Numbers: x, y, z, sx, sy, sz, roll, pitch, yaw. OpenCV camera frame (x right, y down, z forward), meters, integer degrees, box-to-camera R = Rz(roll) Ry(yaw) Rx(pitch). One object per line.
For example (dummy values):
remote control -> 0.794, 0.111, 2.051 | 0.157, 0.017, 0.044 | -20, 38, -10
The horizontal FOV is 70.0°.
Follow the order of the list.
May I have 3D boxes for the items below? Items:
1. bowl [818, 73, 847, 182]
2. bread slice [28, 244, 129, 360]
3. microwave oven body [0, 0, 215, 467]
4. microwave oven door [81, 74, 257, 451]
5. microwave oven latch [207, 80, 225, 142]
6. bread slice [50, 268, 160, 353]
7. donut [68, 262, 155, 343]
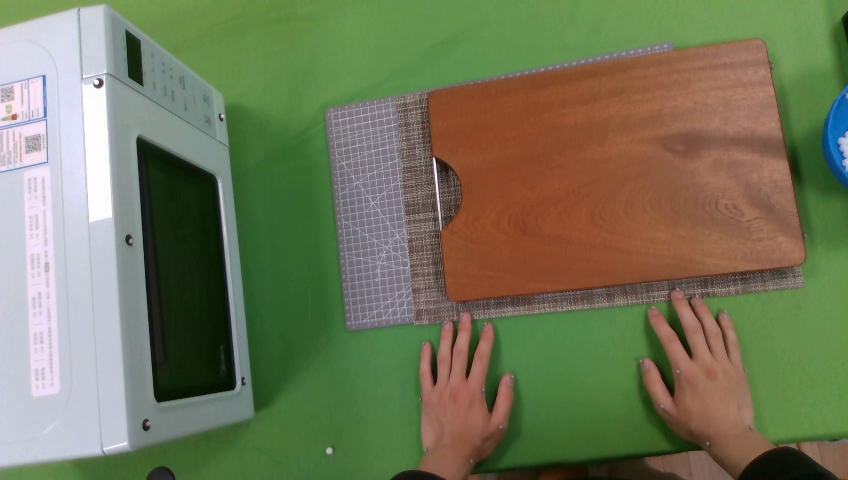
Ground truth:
bowl -> 0.495, -0.113, 0.651 | 0.151, 0.077, 0.151 | -1, 83, 11
bread slice -> -0.389, 0.078, 0.676 | 0.134, 0.018, 0.106 | -24, 81, 21
microwave oven body -> -0.421, 0.016, 0.704 | 0.326, 0.261, 0.440 | -10, 81, 8
microwave oven door -> -0.273, 0.030, 0.670 | 0.039, 0.245, 0.354 | -11, 80, 9
microwave oven latch -> -0.286, -0.169, 0.803 | 0.030, 0.029, 0.079 | -10, 81, 8
bread slice -> -0.399, 0.087, 0.755 | 0.131, 0.019, 0.105 | 2, 89, 2
donut -> -0.372, 0.074, 0.722 | 0.099, 0.048, 0.099 | 0, 98, -2
